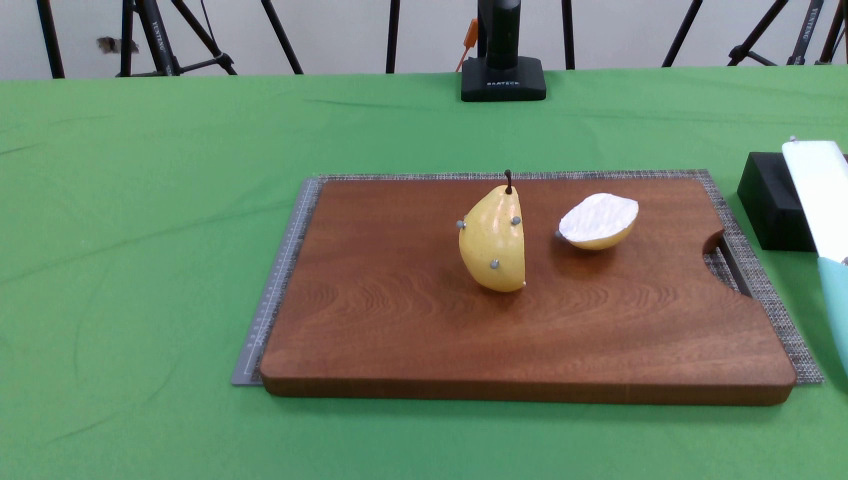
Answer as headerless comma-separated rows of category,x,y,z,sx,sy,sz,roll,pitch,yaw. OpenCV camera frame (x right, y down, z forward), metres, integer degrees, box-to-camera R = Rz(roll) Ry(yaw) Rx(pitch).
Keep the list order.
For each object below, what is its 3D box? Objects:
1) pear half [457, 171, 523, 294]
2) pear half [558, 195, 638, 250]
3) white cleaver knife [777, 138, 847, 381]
pear half,0.055,-0.009,0.499,0.056,0.111,0.075,-6,35,-3
pear half,0.161,-0.012,0.556,0.070,0.031,0.087,-6,23,20
white cleaver knife,0.365,0.007,0.521,0.066,0.022,0.284,3,54,9
